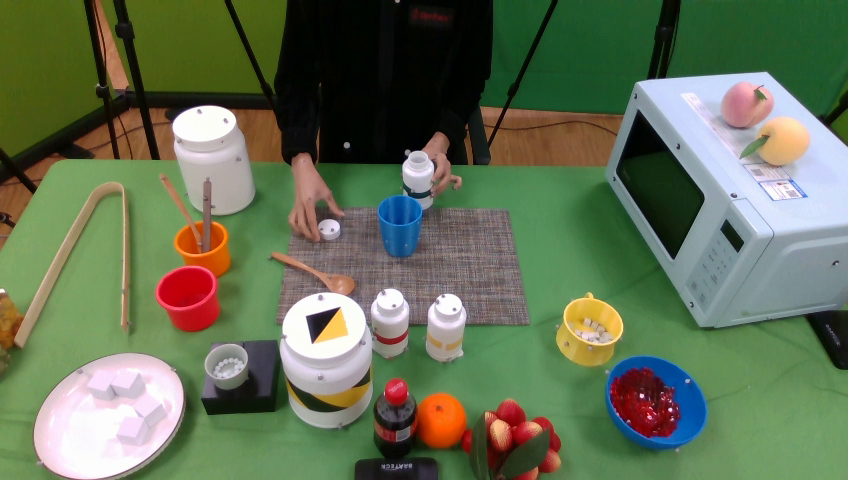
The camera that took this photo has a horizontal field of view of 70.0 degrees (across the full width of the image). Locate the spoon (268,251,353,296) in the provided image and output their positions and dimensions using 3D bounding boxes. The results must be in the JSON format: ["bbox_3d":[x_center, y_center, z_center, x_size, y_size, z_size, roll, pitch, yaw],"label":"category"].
[{"bbox_3d":[-0.212,0.057,1.121,0.193,0.022,0.041,24,74,18],"label":"spoon"}]

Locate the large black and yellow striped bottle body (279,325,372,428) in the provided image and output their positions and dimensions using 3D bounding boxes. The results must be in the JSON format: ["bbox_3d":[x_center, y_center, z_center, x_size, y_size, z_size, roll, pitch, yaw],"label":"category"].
[{"bbox_3d":[-0.143,0.181,0.900,0.131,0.185,0.130,2,46,-2],"label":"large black and yellow striped bottle body"}]

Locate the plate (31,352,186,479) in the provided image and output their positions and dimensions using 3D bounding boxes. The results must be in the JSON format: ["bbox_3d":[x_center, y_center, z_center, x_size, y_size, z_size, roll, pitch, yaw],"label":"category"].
[{"bbox_3d":[-0.459,0.262,0.897,0.209,0.038,0.208,2,46,-2],"label":"plate"}]

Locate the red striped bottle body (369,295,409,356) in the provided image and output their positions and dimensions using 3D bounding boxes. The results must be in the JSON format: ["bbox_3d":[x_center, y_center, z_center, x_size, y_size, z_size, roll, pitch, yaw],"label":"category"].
[{"bbox_3d":[-0.059,0.134,0.997,0.063,0.120,0.062,4,47,-5],"label":"red striped bottle body"}]

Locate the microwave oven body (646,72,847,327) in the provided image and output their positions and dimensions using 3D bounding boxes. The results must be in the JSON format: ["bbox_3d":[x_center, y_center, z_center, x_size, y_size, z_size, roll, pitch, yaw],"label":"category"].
[{"bbox_3d":[0.607,-0.089,1.164,0.326,0.261,0.438,-7,46,-10],"label":"microwave oven body"}]

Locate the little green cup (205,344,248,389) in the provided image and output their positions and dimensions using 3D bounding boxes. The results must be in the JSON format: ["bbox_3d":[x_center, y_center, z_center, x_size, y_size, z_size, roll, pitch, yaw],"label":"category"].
[{"bbox_3d":[-0.294,0.191,0.909,0.061,0.039,0.061,1,47,-1],"label":"little green cup"}]

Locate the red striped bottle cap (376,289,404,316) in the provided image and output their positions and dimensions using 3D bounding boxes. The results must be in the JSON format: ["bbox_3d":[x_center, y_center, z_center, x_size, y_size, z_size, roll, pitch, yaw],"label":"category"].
[{"bbox_3d":[-0.055,0.098,0.958,0.044,0.018,0.044,0,48,0],"label":"red striped bottle cap"}]

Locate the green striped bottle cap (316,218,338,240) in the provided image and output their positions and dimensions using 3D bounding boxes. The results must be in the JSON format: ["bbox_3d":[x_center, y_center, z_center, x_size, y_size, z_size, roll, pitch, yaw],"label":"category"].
[{"bbox_3d":[-0.193,-0.022,1.203,0.044,0.020,0.044,3,50,-3],"label":"green striped bottle cap"}]

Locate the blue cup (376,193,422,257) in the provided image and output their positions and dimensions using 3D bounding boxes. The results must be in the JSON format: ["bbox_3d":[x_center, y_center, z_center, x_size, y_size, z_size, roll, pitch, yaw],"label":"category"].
[{"bbox_3d":[-0.047,-0.021,1.155,0.093,0.101,0.092,1,46,-1],"label":"blue cup"}]

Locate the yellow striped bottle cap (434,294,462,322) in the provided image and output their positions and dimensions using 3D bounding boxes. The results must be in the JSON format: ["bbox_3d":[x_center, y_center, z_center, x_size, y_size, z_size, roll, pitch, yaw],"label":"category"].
[{"bbox_3d":[0.038,0.107,0.958,0.044,0.019,0.044,2,45,-2],"label":"yellow striped bottle cap"}]

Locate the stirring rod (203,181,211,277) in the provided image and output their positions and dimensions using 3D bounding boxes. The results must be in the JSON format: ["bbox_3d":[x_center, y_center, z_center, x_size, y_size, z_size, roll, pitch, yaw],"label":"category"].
[{"bbox_3d":[-0.396,-0.021,1.107,0.014,0.006,0.176,-1,89,-2],"label":"stirring rod"}]

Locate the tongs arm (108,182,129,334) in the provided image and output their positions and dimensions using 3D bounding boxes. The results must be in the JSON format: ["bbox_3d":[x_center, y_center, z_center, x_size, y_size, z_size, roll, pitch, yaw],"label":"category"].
[{"bbox_3d":[-0.571,0.019,1.123,0.051,0.026,0.382,-10,47,-12],"label":"tongs arm"}]

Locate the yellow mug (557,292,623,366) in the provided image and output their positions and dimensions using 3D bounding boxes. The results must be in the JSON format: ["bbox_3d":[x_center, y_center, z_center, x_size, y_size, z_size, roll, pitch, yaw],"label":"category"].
[{"bbox_3d":[0.285,0.145,1.051,0.100,0.064,0.130,7,45,4],"label":"yellow mug"}]

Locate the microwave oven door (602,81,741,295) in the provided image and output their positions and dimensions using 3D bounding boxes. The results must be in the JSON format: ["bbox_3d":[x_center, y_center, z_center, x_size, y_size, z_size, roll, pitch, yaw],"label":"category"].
[{"bbox_3d":[0.456,-0.107,1.162,0.039,0.245,0.353,-7,47,-11],"label":"microwave oven door"}]

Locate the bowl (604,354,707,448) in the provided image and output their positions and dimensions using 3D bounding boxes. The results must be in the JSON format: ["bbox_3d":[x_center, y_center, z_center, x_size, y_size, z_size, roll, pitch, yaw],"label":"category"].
[{"bbox_3d":[0.346,0.261,0.937,0.151,0.077,0.150,2,46,-2],"label":"bowl"}]

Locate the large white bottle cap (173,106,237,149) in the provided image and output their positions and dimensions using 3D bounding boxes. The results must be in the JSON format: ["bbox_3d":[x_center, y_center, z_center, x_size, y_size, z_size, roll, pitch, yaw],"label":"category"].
[{"bbox_3d":[-0.411,-0.212,1.138,0.115,0.018,0.114,2,47,-2],"label":"large white bottle cap"}]

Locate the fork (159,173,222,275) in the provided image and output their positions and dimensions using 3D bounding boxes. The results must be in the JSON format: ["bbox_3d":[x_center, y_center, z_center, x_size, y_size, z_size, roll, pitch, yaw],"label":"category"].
[{"bbox_3d":[-0.427,-0.029,1.103,0.028,0.018,0.207,-31,99,-31],"label":"fork"}]

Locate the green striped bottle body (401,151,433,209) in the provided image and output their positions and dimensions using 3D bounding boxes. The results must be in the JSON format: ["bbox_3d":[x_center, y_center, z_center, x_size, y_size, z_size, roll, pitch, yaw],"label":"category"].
[{"bbox_3d":[-0.015,-0.121,1.206,0.063,0.120,0.063,1,49,-1],"label":"green striped bottle body"}]

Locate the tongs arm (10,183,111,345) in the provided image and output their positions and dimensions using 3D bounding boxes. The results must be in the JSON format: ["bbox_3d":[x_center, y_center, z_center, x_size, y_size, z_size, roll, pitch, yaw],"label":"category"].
[{"bbox_3d":[-0.658,0.027,1.109,0.028,0.028,0.385,-2,45,2],"label":"tongs arm"}]

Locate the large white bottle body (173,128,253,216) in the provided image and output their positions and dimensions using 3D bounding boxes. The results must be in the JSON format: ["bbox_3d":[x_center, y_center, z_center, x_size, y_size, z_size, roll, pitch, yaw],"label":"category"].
[{"bbox_3d":[-0.416,-0.154,1.199,0.131,0.185,0.130,2,46,-2],"label":"large white bottle body"}]

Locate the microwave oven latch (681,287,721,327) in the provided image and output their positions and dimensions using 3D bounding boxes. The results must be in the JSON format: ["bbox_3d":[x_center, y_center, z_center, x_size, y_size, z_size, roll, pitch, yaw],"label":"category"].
[{"bbox_3d":[0.494,0.119,1.087,0.030,0.029,0.078,-6,46,-9],"label":"microwave oven latch"}]

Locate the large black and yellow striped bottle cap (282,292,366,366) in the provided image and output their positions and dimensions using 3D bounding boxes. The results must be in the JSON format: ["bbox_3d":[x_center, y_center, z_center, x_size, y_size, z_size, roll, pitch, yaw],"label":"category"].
[{"bbox_3d":[-0.138,0.121,0.841,0.115,0.019,0.114,3,47,-3],"label":"large black and yellow striped bottle cap"}]

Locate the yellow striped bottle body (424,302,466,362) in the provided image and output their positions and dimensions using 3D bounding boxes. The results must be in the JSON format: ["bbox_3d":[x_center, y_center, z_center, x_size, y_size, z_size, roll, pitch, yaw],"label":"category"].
[{"bbox_3d":[0.035,0.143,0.995,0.063,0.121,0.062,3,46,-3],"label":"yellow striped bottle body"}]
